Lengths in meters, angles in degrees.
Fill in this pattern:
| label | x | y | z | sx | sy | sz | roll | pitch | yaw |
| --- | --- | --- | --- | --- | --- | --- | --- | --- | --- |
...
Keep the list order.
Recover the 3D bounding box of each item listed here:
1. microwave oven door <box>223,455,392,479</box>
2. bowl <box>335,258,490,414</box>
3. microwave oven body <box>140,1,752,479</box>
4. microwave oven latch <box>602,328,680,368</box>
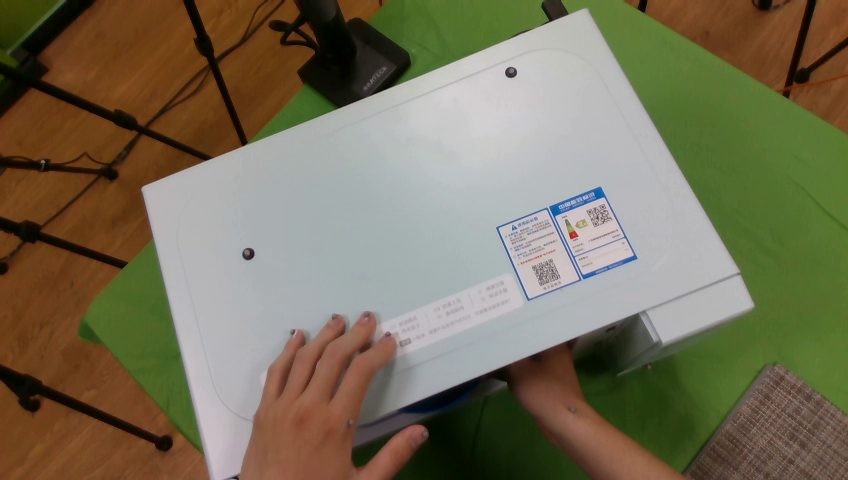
| label | x | y | z | sx | sy | sz | roll | pitch | yaw |
| --- | --- | --- | --- | --- | --- | --- | --- | --- | --- |
| microwave oven door | 0.024 | 0.263 | 0.534 | 0.355 | 0.245 | 0.039 | 13 | 75 | 11 |
| bowl | -0.012 | 0.099 | 0.620 | 0.151 | 0.077 | 0.150 | 1 | 76 | -2 |
| microwave oven body | 0.009 | 0.022 | 0.619 | 0.442 | 0.262 | 0.323 | -22 | 71 | 1 |
| microwave oven latch | 0.238 | 0.114 | 0.663 | 0.079 | 0.030 | 0.030 | -20 | 71 | 1 |
